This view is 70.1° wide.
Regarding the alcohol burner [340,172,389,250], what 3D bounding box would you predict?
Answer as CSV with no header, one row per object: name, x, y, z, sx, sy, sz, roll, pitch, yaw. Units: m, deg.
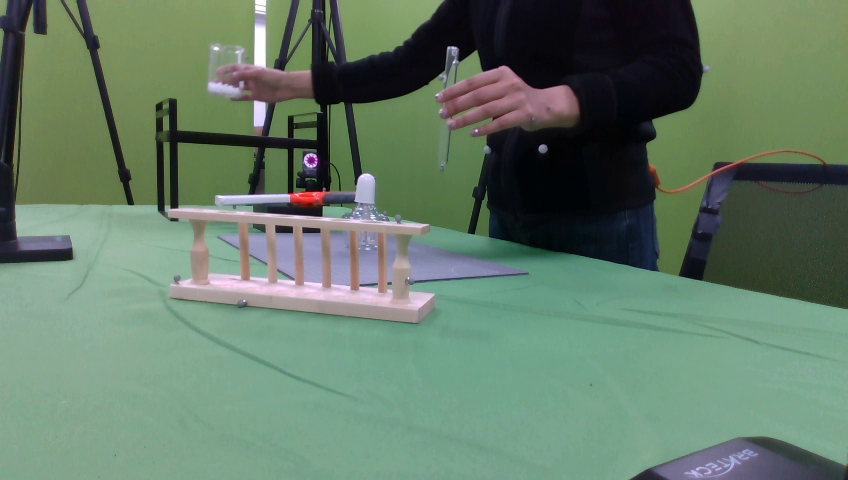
alcohol burner,-0.094,-0.045,0.939,0.078,0.119,0.078,-1,7,0

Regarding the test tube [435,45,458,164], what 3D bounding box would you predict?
test tube,0.028,-0.173,0.780,0.017,0.150,0.017,6,7,0

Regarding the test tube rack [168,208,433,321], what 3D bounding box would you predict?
test tube rack,-0.115,0.017,0.574,0.242,0.085,0.067,4,8,13

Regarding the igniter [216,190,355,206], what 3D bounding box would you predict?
igniter,-0.248,-0.080,1.151,0.278,0.025,0.057,-4,10,-27

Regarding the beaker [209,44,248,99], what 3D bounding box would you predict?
beaker,-0.403,-0.345,1.241,0.074,0.100,0.084,4,7,-8

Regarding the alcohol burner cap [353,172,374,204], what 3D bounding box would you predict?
alcohol burner cap,-0.092,-0.081,0.935,0.034,0.048,0.034,5,7,0
